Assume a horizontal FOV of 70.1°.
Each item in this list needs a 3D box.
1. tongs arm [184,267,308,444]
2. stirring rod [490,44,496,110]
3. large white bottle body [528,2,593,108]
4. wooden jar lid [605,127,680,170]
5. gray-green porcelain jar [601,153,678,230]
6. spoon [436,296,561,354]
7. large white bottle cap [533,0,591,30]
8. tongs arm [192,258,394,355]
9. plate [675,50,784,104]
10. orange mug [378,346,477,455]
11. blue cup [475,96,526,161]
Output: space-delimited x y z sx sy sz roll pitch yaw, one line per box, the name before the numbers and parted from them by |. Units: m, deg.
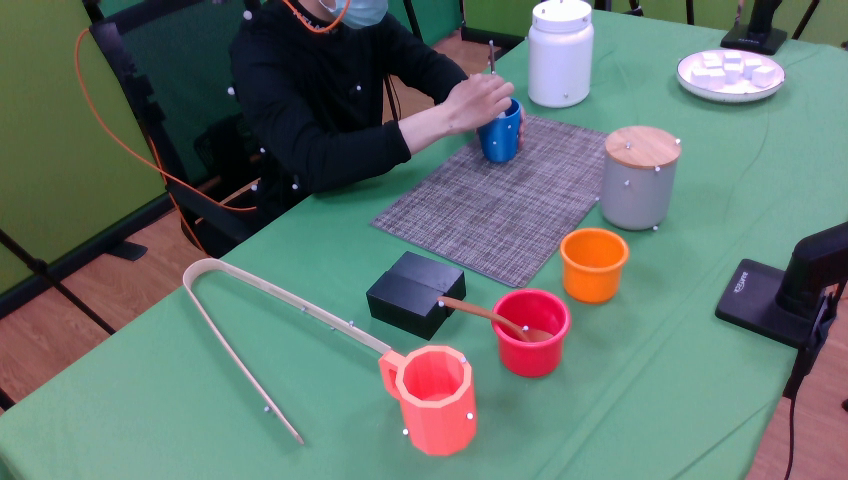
tongs arm | -0.259 0.148 0.843 0.028 0.028 0.384 -38 49 -18
stirring rod | 0.127 -0.267 1.102 0.006 0.177 0.014 1 33 12
large white bottle body | 0.283 -0.386 1.259 0.130 0.185 0.130 -5 41 4
wooden jar lid | 0.327 -0.134 0.909 0.108 0.021 0.108 -2 43 2
gray-green porcelain jar | 0.334 -0.087 0.949 0.106 0.127 0.105 -4 40 4
spoon | 0.095 0.102 0.750 0.195 0.021 0.041 28 31 -28
large white bottle cap | 0.274 -0.450 1.204 0.115 0.018 0.114 -4 41 4
tongs arm | -0.204 0.100 0.881 0.382 0.027 0.051 23 55 32
plate | 0.632 -0.336 1.262 0.207 0.039 0.206 -4 41 4
orange mug | 0.002 0.179 0.708 0.125 0.101 0.083 25 50 27
blue cup | 0.140 -0.205 1.132 0.092 0.100 0.092 -4 39 3
